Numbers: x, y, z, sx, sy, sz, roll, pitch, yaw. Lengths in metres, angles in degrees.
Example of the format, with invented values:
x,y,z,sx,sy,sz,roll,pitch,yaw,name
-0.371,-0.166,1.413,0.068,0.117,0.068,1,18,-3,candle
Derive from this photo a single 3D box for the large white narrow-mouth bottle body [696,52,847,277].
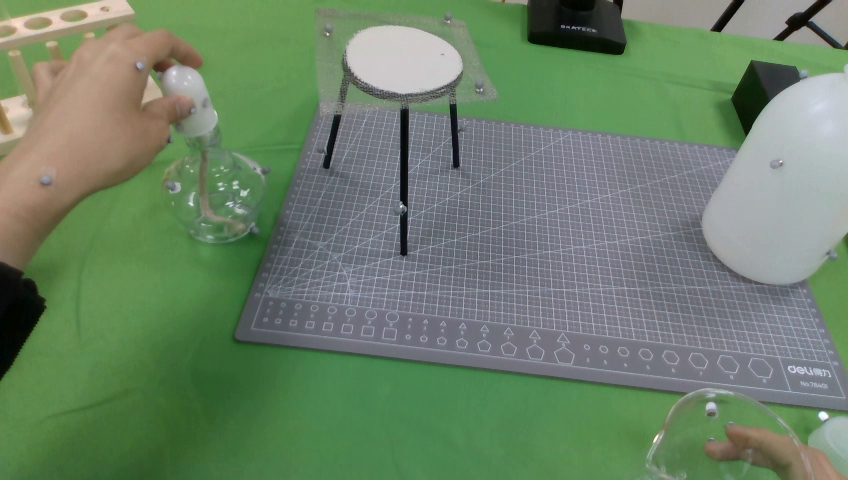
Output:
x,y,z,sx,sy,sz,roll,pitch,yaw,name
0.293,-0.065,0.464,0.102,0.196,0.101,3,48,-3,large white narrow-mouth bottle body

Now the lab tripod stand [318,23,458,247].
x,y,z,sx,sy,sz,roll,pitch,yaw,name
-0.023,-0.090,0.490,0.148,0.132,0.147,5,49,-5,lab tripod stand

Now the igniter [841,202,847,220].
x,y,z,sx,sy,sz,roll,pitch,yaw,name
0.388,0.068,0.472,0.057,0.025,0.274,16,47,-7,igniter

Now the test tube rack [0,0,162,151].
x,y,z,sx,sy,sz,roll,pitch,yaw,name
-0.369,-0.136,0.526,0.242,0.086,0.066,-26,56,-27,test tube rack

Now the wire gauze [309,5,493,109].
x,y,z,sx,sy,sz,roll,pitch,yaw,name
-0.021,-0.137,0.441,0.122,0.011,0.123,-3,50,-11,wire gauze

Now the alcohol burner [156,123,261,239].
x,y,z,sx,sy,sz,roll,pitch,yaw,name
-0.166,-0.058,0.461,0.078,0.120,0.077,5,46,-4,alcohol burner

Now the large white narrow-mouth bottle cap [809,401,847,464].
x,y,z,sx,sy,sz,roll,pitch,yaw,name
0.283,0.130,0.409,0.038,0.024,0.037,3,48,-3,large white narrow-mouth bottle cap

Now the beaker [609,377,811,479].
x,y,z,sx,sy,sz,roll,pitch,yaw,name
0.146,0.134,0.335,0.084,0.101,0.073,-2,48,-7,beaker

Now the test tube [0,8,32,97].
x,y,z,sx,sy,sz,roll,pitch,yaw,name
-0.361,-0.188,0.507,0.017,0.151,0.017,4,43,-3,test tube

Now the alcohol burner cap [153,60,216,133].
x,y,z,sx,sy,sz,roll,pitch,yaw,name
-0.161,-0.097,0.403,0.034,0.048,0.033,1,60,-1,alcohol burner cap
